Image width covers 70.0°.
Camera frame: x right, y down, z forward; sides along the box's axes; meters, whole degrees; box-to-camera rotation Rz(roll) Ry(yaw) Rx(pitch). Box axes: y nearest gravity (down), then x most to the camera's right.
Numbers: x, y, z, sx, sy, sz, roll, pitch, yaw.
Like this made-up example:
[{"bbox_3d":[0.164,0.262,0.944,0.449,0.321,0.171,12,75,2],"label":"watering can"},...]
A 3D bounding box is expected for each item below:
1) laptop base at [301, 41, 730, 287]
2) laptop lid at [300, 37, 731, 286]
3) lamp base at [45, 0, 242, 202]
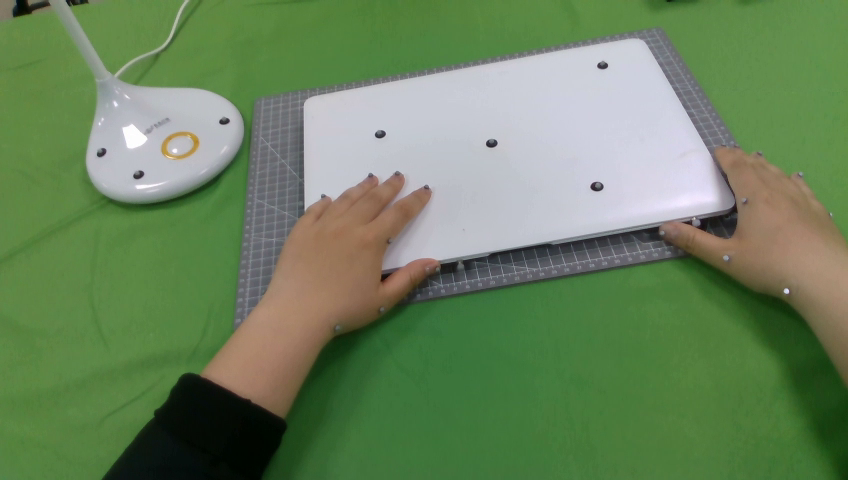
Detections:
[{"bbox_3d":[0.062,-0.079,0.560,0.354,0.023,0.233,-10,55,1],"label":"laptop base"},{"bbox_3d":[0.061,-0.085,0.550,0.357,0.013,0.239,-9,54,2],"label":"laptop lid"},{"bbox_3d":[-0.287,-0.152,0.566,0.178,0.182,0.160,22,58,27],"label":"lamp base"}]
